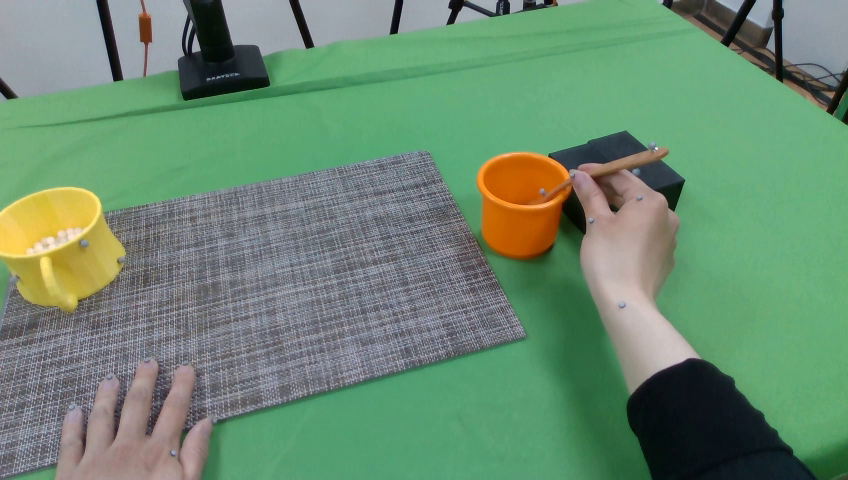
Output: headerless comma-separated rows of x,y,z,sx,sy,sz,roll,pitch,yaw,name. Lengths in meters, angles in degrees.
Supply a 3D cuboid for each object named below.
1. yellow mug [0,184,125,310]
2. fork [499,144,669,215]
-0.343,0.011,0.570,0.100,0.064,0.129,-18,47,-17,yellow mug
0.138,-0.054,0.562,0.019,0.207,0.028,43,61,-13,fork
